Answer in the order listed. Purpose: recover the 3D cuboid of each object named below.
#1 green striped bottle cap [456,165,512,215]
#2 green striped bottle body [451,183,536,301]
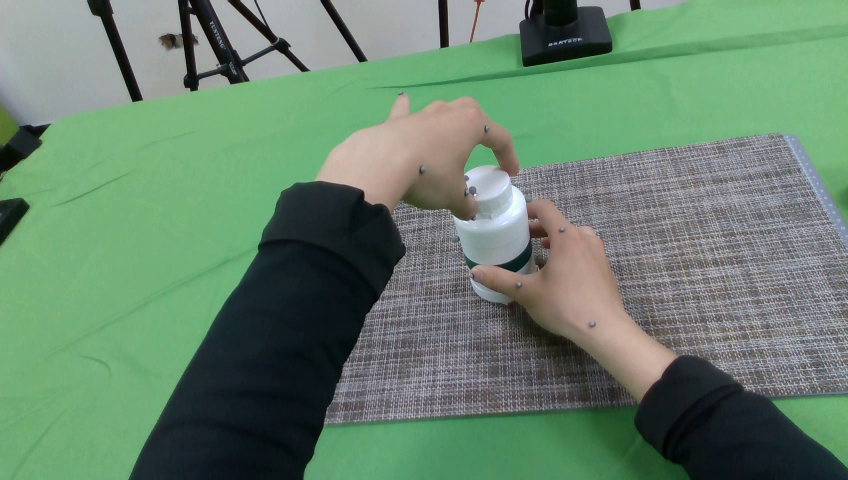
[{"bbox_3d":[0.049,-0.041,0.493,0.044,0.020,0.044,-11,41,11],"label":"green striped bottle cap"},{"bbox_3d":[0.061,-0.006,0.532,0.063,0.120,0.062,-9,45,10],"label":"green striped bottle body"}]
